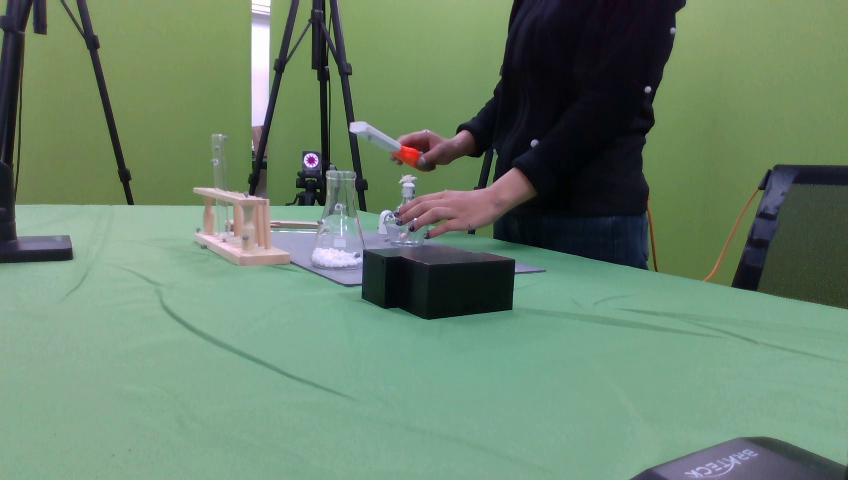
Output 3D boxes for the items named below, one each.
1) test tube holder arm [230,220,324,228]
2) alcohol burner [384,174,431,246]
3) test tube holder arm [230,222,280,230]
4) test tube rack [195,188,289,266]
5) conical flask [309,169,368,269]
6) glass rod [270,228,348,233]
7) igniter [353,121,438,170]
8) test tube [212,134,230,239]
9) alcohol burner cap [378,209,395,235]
[{"bbox_3d":[-0.275,-0.030,1.144,0.179,0.015,0.013,-1,43,-31],"label":"test tube holder arm"},{"bbox_3d":[-0.026,-0.049,0.993,0.078,0.119,0.078,2,9,0],"label":"alcohol burner"},{"bbox_3d":[-0.312,-0.025,1.118,0.088,0.015,0.010,-1,42,-30],"label":"test tube holder arm"},{"bbox_3d":[-0.266,-0.025,0.864,0.067,0.085,0.241,-2,8,-33],"label":"test tube rack"},{"bbox_3d":[-0.107,-0.028,0.762,0.075,0.122,0.075,2,7,0],"label":"conical flask"},{"bbox_3d":[-0.234,-0.017,1.105,0.201,0.008,0.008,1,7,-26],"label":"glass rod"},{"bbox_3d":[-0.047,-0.174,1.149,0.057,0.025,0.278,2,-7,27],"label":"igniter"},{"bbox_3d":[-0.290,-0.076,0.863,0.017,0.150,0.017,-2,6,0],"label":"test tube"},{"bbox_3d":[-0.070,-0.035,1.144,0.034,0.048,0.034,2,7,0],"label":"alcohol burner cap"}]
